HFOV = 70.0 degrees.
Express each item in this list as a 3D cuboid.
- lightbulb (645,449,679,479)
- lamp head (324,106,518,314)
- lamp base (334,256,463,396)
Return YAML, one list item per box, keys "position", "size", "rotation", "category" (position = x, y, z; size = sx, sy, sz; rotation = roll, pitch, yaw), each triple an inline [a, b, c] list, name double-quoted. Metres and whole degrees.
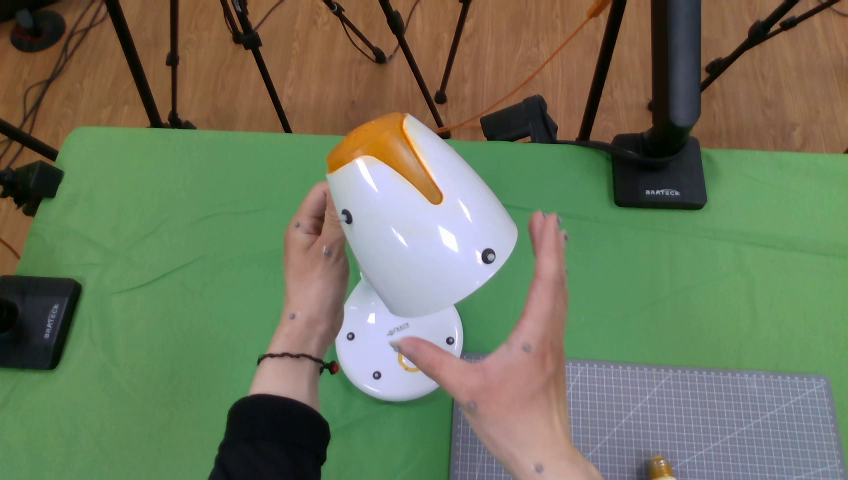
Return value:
- position: [0.265, 0.281, 0.660]
  size: [0.059, 0.060, 0.106]
  rotation: [-3, 51, 2]
  category: "lightbulb"
- position: [-0.013, -0.029, 0.417]
  size: [0.112, 0.112, 0.124]
  rotation: [-42, 109, -15]
  category: "lamp head"
- position: [-0.043, 0.074, 0.691]
  size: [0.160, 0.181, 0.177]
  rotation: [-36, 67, -13]
  category: "lamp base"
